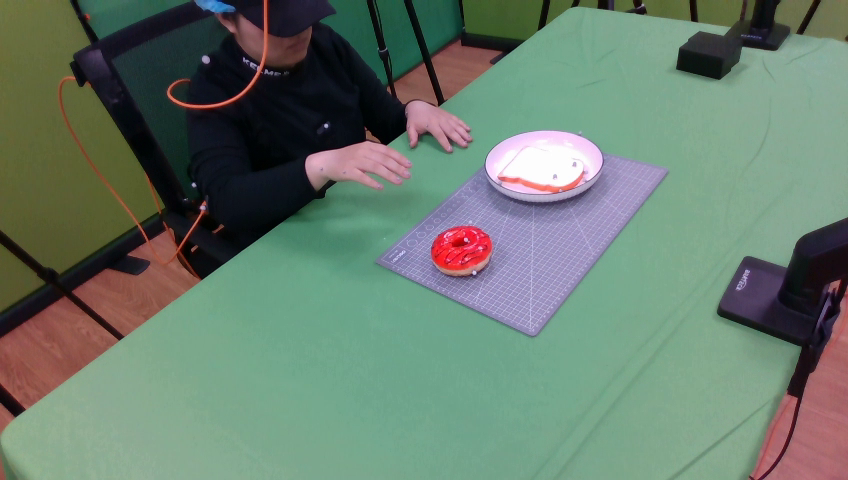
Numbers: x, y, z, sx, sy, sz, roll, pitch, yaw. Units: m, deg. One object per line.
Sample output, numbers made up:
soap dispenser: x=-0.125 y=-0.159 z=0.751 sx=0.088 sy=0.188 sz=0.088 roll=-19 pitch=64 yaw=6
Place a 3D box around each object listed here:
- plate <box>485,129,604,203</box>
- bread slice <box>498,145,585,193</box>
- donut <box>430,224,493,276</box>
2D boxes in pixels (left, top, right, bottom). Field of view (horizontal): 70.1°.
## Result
plate: x=0.213 y=-0.129 z=1.079 sx=0.209 sy=0.038 sz=0.208 roll=-5 pitch=40 yaw=5
bread slice: x=0.216 y=-0.125 z=1.076 sx=0.133 sy=0.018 sz=0.107 roll=16 pitch=48 yaw=28
donut: x=0.058 y=0.014 z=0.934 sx=0.099 sy=0.048 sz=0.098 roll=-7 pitch=40 yaw=6
